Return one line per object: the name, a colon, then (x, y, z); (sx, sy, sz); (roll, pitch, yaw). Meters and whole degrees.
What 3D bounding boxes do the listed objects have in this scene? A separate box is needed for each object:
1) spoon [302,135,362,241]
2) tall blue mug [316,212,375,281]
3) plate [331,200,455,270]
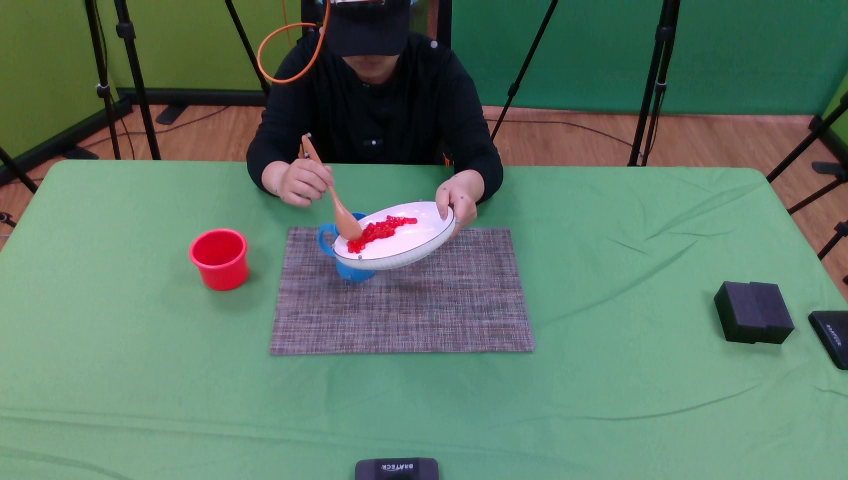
spoon: (-0.157, -0.085, 1.010); (0.041, 0.194, 0.021); (-24, 5, 21)
tall blue mug: (-0.141, 0.014, 1.109); (0.107, 0.108, 0.077); (-5, 48, -9)
plate: (-0.048, -0.005, 0.993); (0.207, 0.039, 0.206); (-13, 24, 6)
